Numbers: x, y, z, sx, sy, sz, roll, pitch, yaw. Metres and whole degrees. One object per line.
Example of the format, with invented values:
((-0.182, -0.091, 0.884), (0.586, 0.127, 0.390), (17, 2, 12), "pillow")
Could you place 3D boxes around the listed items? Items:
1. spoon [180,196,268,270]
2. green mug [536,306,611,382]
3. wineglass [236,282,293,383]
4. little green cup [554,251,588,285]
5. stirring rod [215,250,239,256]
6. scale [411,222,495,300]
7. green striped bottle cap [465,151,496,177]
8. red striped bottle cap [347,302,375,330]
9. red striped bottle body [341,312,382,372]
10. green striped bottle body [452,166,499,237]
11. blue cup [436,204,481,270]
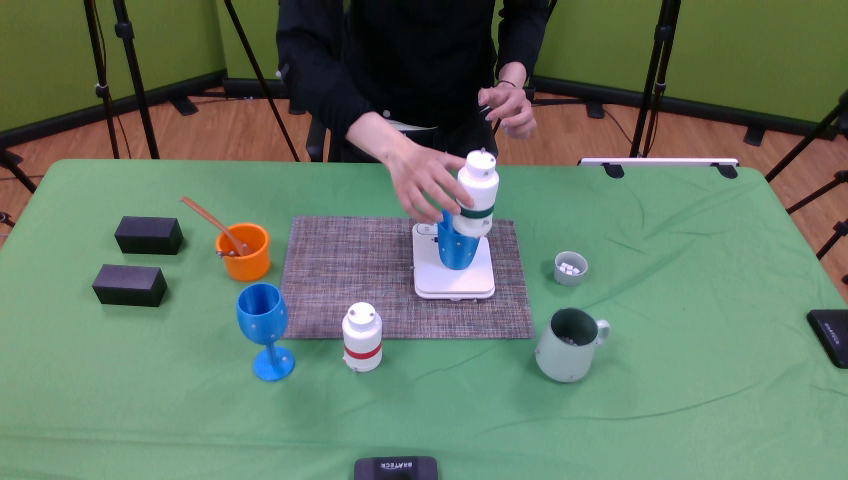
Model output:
((-0.360, -0.014, 1.095), (0.021, 0.194, 0.041), (-27, 26, 31), "spoon")
((0.250, 0.167, 0.996), (0.125, 0.105, 0.092), (-15, 48, -18), "green mug")
((-0.243, 0.143, 0.934), (0.074, 0.173, 0.073), (2, 46, -2), "wineglass")
((0.277, 0.055, 1.151), (0.061, 0.039, 0.061), (1, 46, -1), "little green cup")
((-0.340, 0.024, 1.059), (0.014, 0.176, 0.006), (16, 86, -6), "stirring rod")
((0.052, 0.031, 1.158), (0.149, 0.032, 0.199), (1, 46, -4), "scale")
((0.082, -0.110, 0.883), (0.044, 0.020, 0.044), (3, 43, -3), "green striped bottle cap")
((-0.097, 0.116, 0.934), (0.044, 0.018, 0.044), (2, 48, -2), "red striped bottle cap")
((-0.100, 0.154, 0.972), (0.063, 0.120, 0.062), (2, 45, -1), "red striped bottle body")
((0.079, -0.068, 0.921), (0.063, 0.120, 0.063), (2, 41, -2), "green striped bottle body")
((0.062, -0.001, 1.099), (0.093, 0.101, 0.092), (2, 43, -2), "blue cup")
